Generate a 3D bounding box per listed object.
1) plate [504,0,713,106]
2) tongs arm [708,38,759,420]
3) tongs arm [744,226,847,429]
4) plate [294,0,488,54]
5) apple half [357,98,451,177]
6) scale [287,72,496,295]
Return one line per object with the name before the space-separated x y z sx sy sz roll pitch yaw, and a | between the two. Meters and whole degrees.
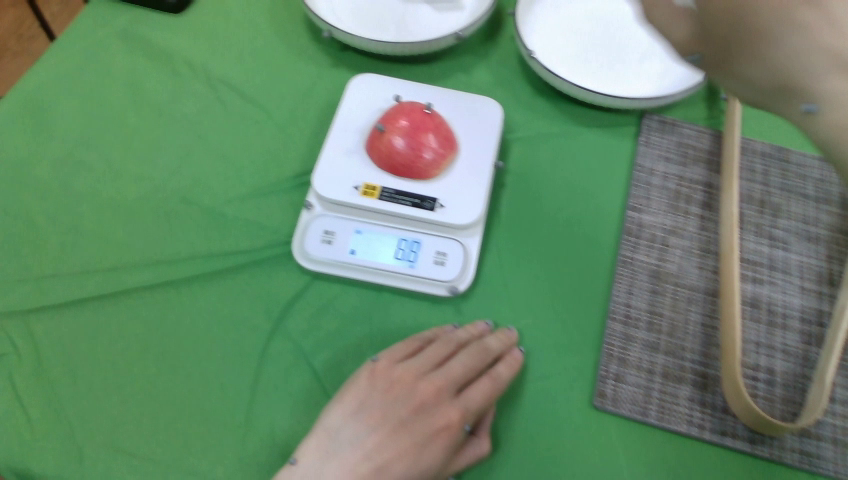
plate | 0.184 -0.210 0.618 0.209 0.038 0.207 2 59 -3
tongs arm | 0.264 -0.038 0.523 0.028 0.028 0.385 16 60 1
tongs arm | 0.342 -0.009 0.510 0.050 0.027 0.383 27 62 11
plate | -0.034 -0.266 0.637 0.208 0.039 0.206 2 60 -2
apple half | -0.014 -0.092 0.505 0.081 0.033 0.080 1 59 -2
scale | -0.022 -0.055 0.518 0.148 0.032 0.199 11 60 3
